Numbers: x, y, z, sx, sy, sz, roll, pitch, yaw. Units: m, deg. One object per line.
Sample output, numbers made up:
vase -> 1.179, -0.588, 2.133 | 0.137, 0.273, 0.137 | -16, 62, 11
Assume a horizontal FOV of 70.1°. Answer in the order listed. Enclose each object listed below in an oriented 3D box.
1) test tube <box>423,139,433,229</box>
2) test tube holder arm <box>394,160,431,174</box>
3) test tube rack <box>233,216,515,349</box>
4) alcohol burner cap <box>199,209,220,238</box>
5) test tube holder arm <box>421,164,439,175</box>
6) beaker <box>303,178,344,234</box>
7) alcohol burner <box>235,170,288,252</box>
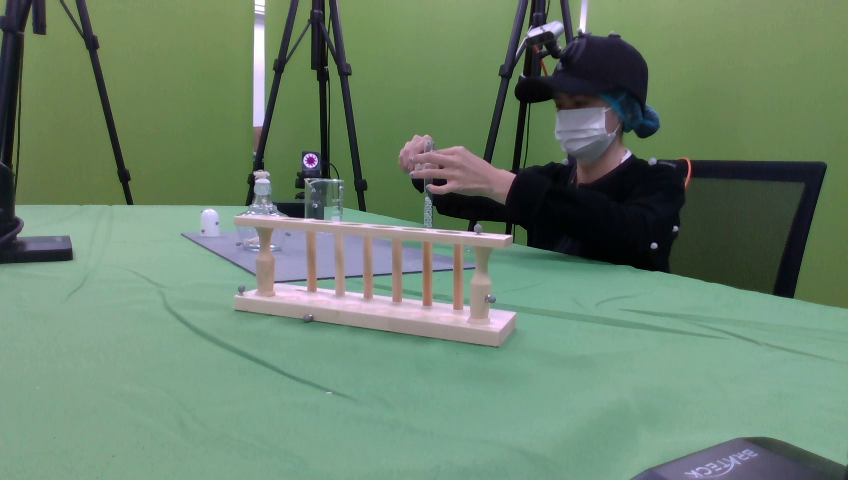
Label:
test tube -> 0.006, -0.093, 1.018 | 0.017, 0.150, 0.017 | 0, 6, 0
test tube holder arm -> -0.022, -0.131, 1.077 | 0.013, 0.015, 0.177 | 9, 7, -23
test tube rack -> -0.045, 0.029, 0.526 | 0.241, 0.085, 0.067 | 5, 8, 19
alcohol burner cap -> -0.356, -0.027, 1.002 | 0.034, 0.048, 0.034 | 2, 7, 0
test tube holder arm -> 0.000, -0.122, 1.039 | 0.010, 0.015, 0.087 | 8, 8, -29
beaker -> -0.189, -0.063, 1.119 | 0.073, 0.100, 0.084 | 6, 9, 28
alcohol burner -> -0.236, -0.042, 0.882 | 0.078, 0.119, 0.078 | 2, 9, 0
